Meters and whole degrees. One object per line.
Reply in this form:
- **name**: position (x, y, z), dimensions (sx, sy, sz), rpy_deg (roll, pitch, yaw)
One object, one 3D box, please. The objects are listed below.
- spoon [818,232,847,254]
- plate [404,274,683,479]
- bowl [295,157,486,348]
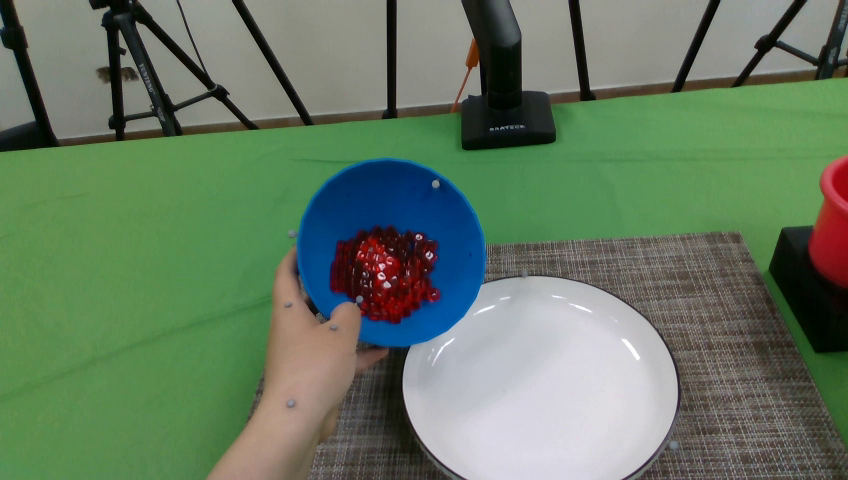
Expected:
- **spoon**: position (0.340, -0.012, 0.403), dimensions (0.041, 0.194, 0.021), rpy_deg (-17, 80, -7)
- **plate**: position (0.089, 0.111, 0.474), dimensions (0.207, 0.039, 0.205), rpy_deg (-5, 41, 5)
- **bowl**: position (-0.033, 0.016, 0.498), dimensions (0.152, 0.077, 0.150), rpy_deg (4, 77, -16)
